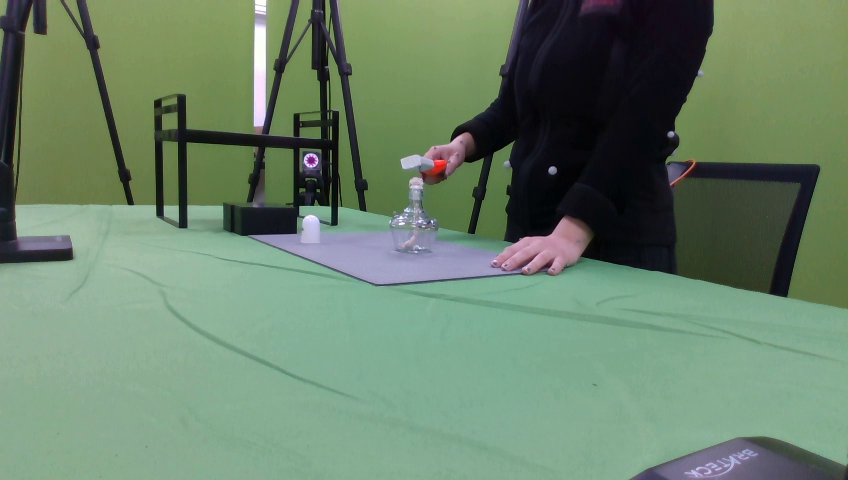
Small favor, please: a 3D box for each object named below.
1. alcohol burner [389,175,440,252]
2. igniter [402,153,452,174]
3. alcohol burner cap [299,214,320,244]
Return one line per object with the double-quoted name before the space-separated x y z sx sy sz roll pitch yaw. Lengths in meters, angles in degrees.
"alcohol burner" -0.013 -0.041 0.930 0.078 0.119 0.078 4 8 0
"igniter" 0.009 -0.135 1.075 0.057 0.025 0.277 -13 1 13
"alcohol burner cap" -0.185 -0.018 0.979 0.034 0.048 0.034 4 8 0
